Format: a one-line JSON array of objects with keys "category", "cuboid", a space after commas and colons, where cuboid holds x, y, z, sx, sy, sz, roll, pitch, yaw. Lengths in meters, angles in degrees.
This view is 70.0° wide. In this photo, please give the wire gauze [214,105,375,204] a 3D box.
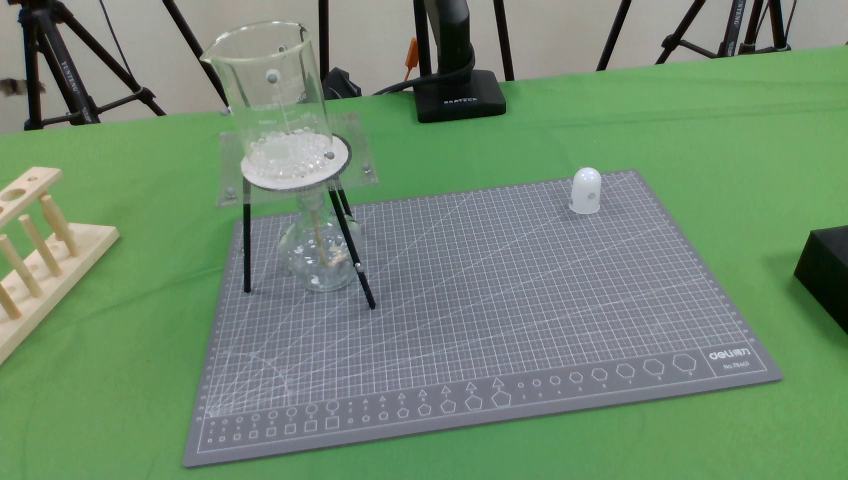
[{"category": "wire gauze", "cuboid": [-0.109, -0.071, 0.496, 0.125, 0.011, 0.120, -13, 38, -5]}]

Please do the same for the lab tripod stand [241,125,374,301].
[{"category": "lab tripod stand", "cuboid": [-0.104, -0.022, 0.539, 0.148, 0.133, 0.147, -3, 42, 3]}]

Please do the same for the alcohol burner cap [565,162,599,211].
[{"category": "alcohol burner cap", "cuboid": [0.164, -0.057, 0.625, 0.034, 0.048, 0.033, -3, 40, 3]}]

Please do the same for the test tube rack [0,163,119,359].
[{"category": "test tube rack", "cuboid": [-0.390, 0.033, 0.545, 0.066, 0.086, 0.240, 5, 41, 12]}]

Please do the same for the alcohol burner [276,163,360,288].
[{"category": "alcohol burner", "cuboid": [-0.099, -0.016, 0.547, 0.078, 0.120, 0.077, -4, 38, 3]}]

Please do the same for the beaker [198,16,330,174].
[{"category": "beaker", "cuboid": [-0.117, -0.108, 0.464, 0.084, 0.101, 0.073, -12, 40, -6]}]
